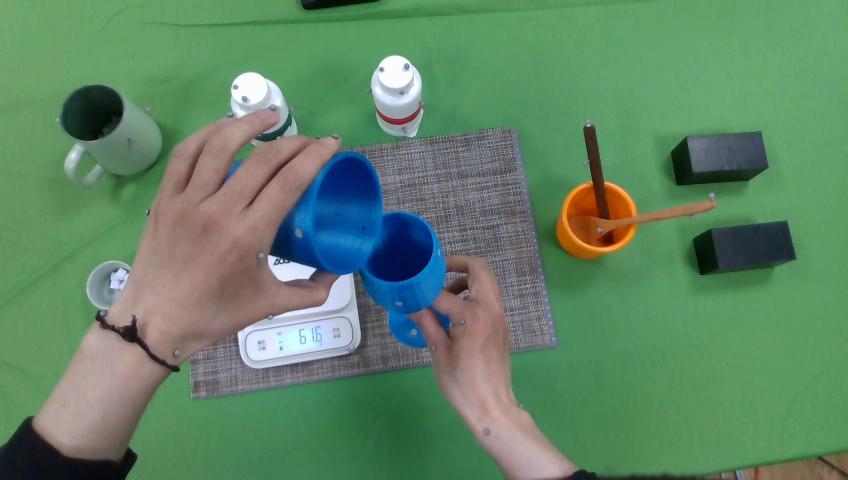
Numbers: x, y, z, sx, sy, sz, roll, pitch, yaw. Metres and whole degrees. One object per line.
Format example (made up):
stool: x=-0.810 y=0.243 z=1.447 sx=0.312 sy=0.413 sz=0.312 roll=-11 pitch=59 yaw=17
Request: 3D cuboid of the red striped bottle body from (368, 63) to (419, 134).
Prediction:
red striped bottle body: x=-0.038 y=-0.187 z=0.778 sx=0.063 sy=0.120 sz=0.062 roll=0 pitch=77 yaw=0

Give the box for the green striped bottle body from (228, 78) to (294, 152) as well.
green striped bottle body: x=-0.207 y=-0.162 z=0.769 sx=0.063 sy=0.120 sz=0.063 roll=0 pitch=76 yaw=0

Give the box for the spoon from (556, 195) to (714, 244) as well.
spoon: x=0.247 y=-0.027 z=0.729 sx=0.022 sy=0.193 sz=0.041 roll=-3 pitch=83 yaw=-46

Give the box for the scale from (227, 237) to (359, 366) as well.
scale: x=-0.166 y=0.050 z=0.762 sx=0.149 sy=0.032 sz=0.200 roll=-9 pitch=78 yaw=-2

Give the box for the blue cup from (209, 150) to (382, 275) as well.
blue cup: x=-0.095 y=-0.025 z=0.433 sx=0.099 sy=0.093 sz=0.092 roll=8 pitch=75 yaw=27

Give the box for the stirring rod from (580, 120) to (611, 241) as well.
stirring rod: x=0.209 y=-0.067 z=0.736 sx=0.014 sy=0.178 sz=0.006 roll=2 pitch=42 yaw=29

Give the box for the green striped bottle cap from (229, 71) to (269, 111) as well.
green striped bottle cap: x=-0.207 y=-0.176 z=0.715 sx=0.044 sy=0.020 sz=0.044 roll=0 pitch=77 yaw=1

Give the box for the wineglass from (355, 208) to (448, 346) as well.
wineglass: x=-0.016 y=0.039 z=0.531 sx=0.073 sy=0.173 sz=0.073 roll=-2 pitch=65 yaw=5

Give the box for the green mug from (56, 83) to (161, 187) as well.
green mug: x=-0.405 y=-0.124 z=0.766 sx=0.092 sy=0.105 sz=0.125 roll=26 pitch=78 yaw=5

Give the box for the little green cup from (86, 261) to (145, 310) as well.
little green cup: x=-0.382 y=0.059 z=0.757 sx=0.061 sy=0.039 sz=0.061 roll=0 pitch=77 yaw=-1

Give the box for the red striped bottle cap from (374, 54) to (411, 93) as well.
red striped bottle cap: x=-0.038 y=-0.200 z=0.725 sx=0.044 sy=0.018 sz=0.044 roll=0 pitch=74 yaw=0
